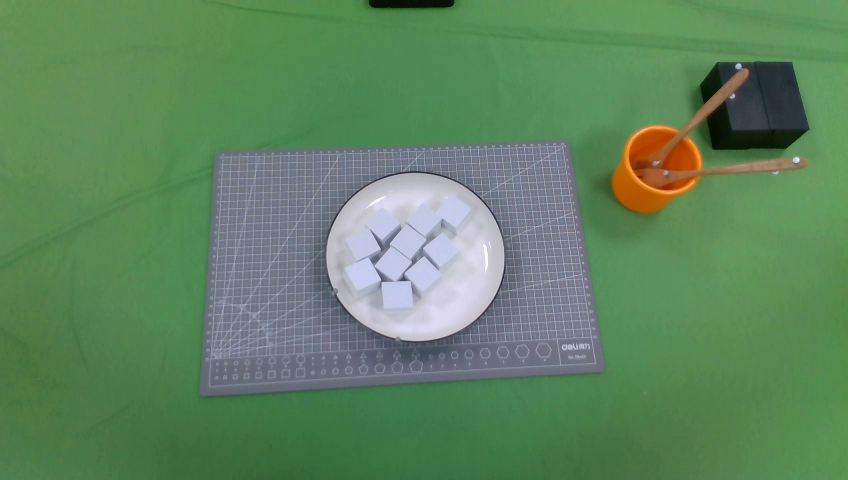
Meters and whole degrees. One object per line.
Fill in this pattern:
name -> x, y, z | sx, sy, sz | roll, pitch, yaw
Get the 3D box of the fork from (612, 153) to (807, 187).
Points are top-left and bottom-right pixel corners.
fork -> 0.316, -0.082, 0.691 | 0.206, 0.019, 0.028 | -3, 83, 42

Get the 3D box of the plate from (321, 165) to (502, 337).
plate -> -0.014, 0.013, 0.706 | 0.208, 0.039, 0.206 | 1, 71, -2

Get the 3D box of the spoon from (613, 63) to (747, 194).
spoon -> 0.299, -0.127, 0.712 | 0.022, 0.194, 0.041 | -14, 60, -53
